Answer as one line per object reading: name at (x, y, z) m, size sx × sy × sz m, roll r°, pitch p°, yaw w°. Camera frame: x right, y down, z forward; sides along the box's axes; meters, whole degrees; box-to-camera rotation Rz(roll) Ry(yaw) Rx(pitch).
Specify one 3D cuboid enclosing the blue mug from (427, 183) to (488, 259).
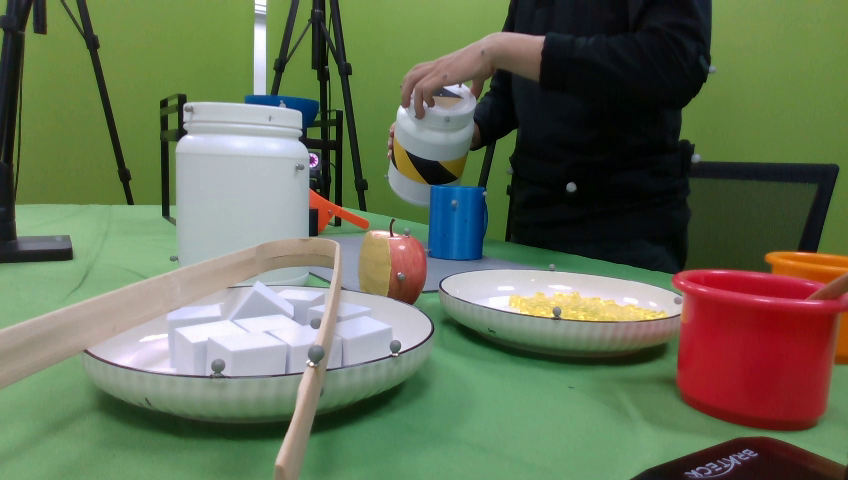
blue mug at (0.059, -0.031, 0.907) m, size 0.082 × 0.106 × 0.117 m, roll 9°, pitch 10°, yaw 42°

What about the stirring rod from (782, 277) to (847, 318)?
stirring rod at (0.344, 0.019, 0.461) m, size 0.014 × 0.006 × 0.176 m, roll -13°, pitch -27°, yaw -30°

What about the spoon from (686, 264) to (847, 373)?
spoon at (0.215, 0.032, 0.328) m, size 0.042 × 0.021 × 0.193 m, roll -3°, pitch -35°, yaw -26°

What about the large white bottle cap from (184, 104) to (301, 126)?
large white bottle cap at (-0.184, -0.126, 0.618) m, size 0.115 × 0.018 × 0.115 m, roll 2°, pitch 8°, yaw 0°

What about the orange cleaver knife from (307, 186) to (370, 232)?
orange cleaver knife at (-0.197, -0.056, 1.141) m, size 0.212 × 0.077 × 0.012 m, roll 29°, pitch 0°, yaw -35°

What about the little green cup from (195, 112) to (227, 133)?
little green cup at (-0.412, -0.228, 1.171) m, size 0.061 × 0.038 × 0.061 m, roll 3°, pitch 8°, yaw 0°

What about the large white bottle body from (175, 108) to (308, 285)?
large white bottle body at (-0.188, -0.042, 0.630) m, size 0.131 × 0.184 × 0.130 m, roll 2°, pitch 8°, yaw 0°

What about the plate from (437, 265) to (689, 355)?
plate at (0.114, 0.057, 0.517) m, size 0.209 × 0.038 × 0.209 m, roll 3°, pitch 8°, yaw 0°

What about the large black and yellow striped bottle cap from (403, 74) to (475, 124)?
large black and yellow striped bottle cap at (0.025, -0.225, 0.957) m, size 0.115 × 0.019 × 0.114 m, roll 6°, pitch 46°, yaw -6°

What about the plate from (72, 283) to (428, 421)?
plate at (-0.102, 0.066, 0.381) m, size 0.208 × 0.039 × 0.207 m, roll 2°, pitch 7°, yaw 0°

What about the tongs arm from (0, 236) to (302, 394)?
tongs arm at (-0.158, 0.038, 0.351) m, size 0.028 × 0.028 × 0.388 m, roll -3°, pitch 8°, yaw 11°

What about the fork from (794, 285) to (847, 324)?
fork at (0.332, 0.018, 0.443) m, size 0.028 × 0.018 × 0.207 m, roll -1°, pitch -36°, yaw -15°

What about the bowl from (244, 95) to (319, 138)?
bowl at (-0.293, -0.251, 1.249) m, size 0.151 × 0.077 × 0.151 m, roll 2°, pitch 7°, yaw 0°

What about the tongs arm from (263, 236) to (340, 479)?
tongs arm at (-0.074, 0.039, 0.349) m, size 0.051 × 0.026 × 0.384 m, roll -2°, pitch 9°, yaw -3°

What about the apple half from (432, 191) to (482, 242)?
apple half at (0.048, -0.037, 0.905) m, size 0.081 × 0.081 × 0.033 m, roll 2°, pitch 14°, yaw -1°

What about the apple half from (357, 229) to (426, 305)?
apple half at (-0.026, 0.028, 0.570) m, size 0.053 × 0.074 × 0.080 m, roll 3°, pitch 2°, yaw -28°

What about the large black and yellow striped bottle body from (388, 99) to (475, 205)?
large black and yellow striped bottle body at (0.012, -0.165, 1.015) m, size 0.131 × 0.184 × 0.130 m, roll 6°, pitch 45°, yaw -6°
